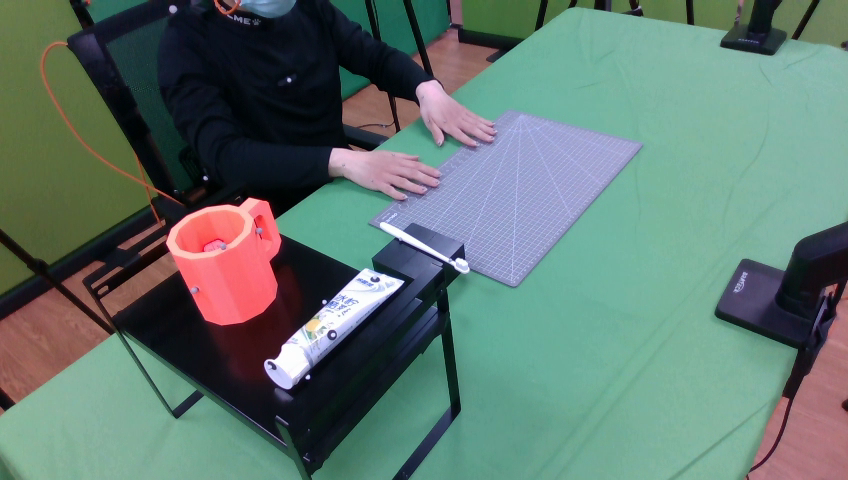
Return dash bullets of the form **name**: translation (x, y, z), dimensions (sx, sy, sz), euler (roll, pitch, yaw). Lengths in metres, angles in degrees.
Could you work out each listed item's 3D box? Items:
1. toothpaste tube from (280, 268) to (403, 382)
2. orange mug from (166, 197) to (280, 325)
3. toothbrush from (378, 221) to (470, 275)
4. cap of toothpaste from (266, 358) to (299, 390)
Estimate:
- **toothpaste tube**: translation (-0.087, 0.081, 0.609), dimensions (0.054, 0.034, 0.165), euler (21, 43, 24)
- **orange mug**: translation (-0.203, 0.014, 0.650), dimensions (0.083, 0.101, 0.126), euler (12, 48, 22)
- **toothbrush**: translation (-0.004, 0.007, 0.894), dimensions (0.180, 0.017, 0.014), euler (27, 55, 34)
- **cap of toothpaste**: translation (-0.130, 0.122, 0.558), dimensions (0.037, 0.037, 0.011), euler (18, 42, 26)
